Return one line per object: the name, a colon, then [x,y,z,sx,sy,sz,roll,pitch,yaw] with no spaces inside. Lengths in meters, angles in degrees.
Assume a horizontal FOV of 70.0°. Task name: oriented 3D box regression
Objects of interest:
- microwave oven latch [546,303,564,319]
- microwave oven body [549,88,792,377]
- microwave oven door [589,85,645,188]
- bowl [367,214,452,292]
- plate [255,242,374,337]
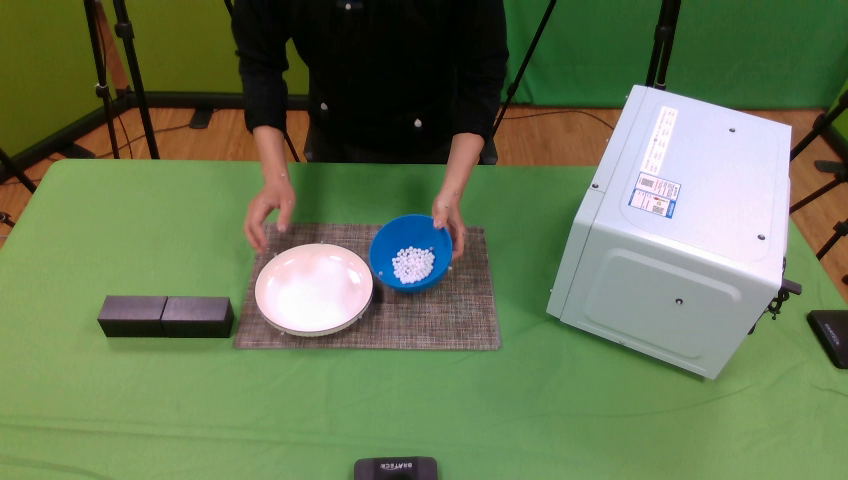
microwave oven latch: [0.242,0.102,1.081,0.030,0.029,0.079,21,48,17]
microwave oven body: [0.456,-0.028,1.088,0.325,0.261,0.440,20,47,16]
microwave oven door: [0.342,-0.107,1.148,0.039,0.245,0.354,20,48,15]
bowl: [-0.019,0.036,1.082,0.151,0.077,0.150,-5,58,8]
plate: [-0.192,0.090,1.080,0.208,0.039,0.206,2,46,-2]
